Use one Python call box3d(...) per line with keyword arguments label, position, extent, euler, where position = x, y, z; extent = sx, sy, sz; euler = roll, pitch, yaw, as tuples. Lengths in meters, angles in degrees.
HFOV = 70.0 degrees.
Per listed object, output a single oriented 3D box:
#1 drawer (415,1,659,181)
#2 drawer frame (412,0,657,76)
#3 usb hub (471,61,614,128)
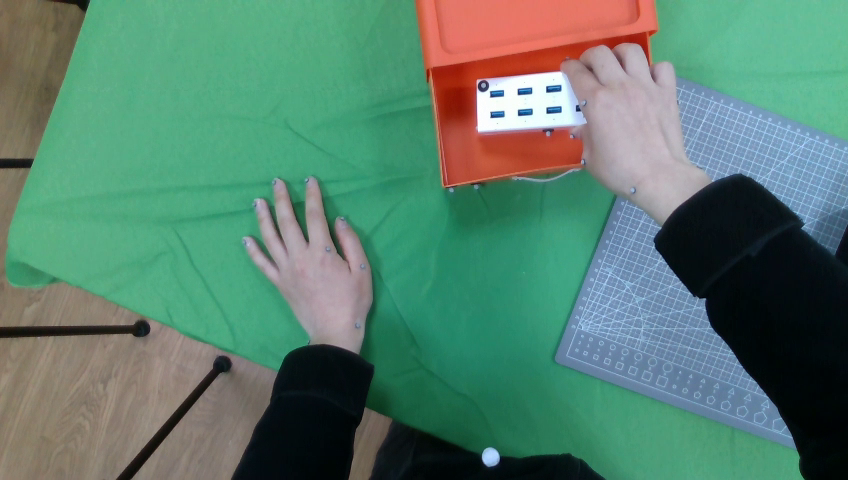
box3d(label="drawer", position=(0.095, -0.165, 0.543), extent=(0.194, 0.073, 0.212), euler=(-7, 95, 1))
box3d(label="drawer frame", position=(0.080, -0.267, 0.531), extent=(0.202, 0.082, 0.214), euler=(-10, 95, 1))
box3d(label="usb hub", position=(0.105, -0.129, 0.541), extent=(0.125, 0.025, 0.049), euler=(-1, 94, 15))
